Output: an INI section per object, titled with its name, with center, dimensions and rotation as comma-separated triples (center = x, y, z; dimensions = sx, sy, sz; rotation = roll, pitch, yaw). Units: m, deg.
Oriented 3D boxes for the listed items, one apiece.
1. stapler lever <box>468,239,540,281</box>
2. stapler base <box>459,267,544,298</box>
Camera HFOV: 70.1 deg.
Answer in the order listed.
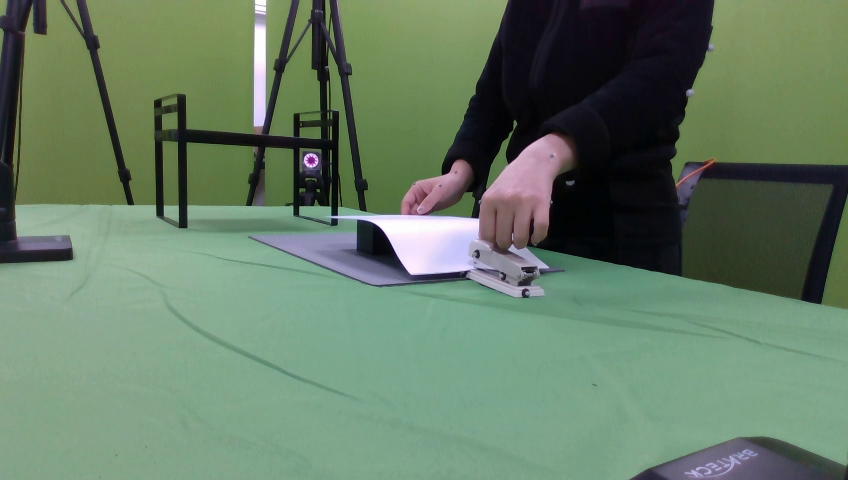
[stapler lever]
center = 0.089, 0.022, 0.702
dimensions = 0.027, 0.040, 0.117
rotation = -2, 5, -27
[stapler base]
center = 0.087, 0.042, 0.705
dimensions = 0.041, 0.024, 0.130
rotation = -2, 10, -27
